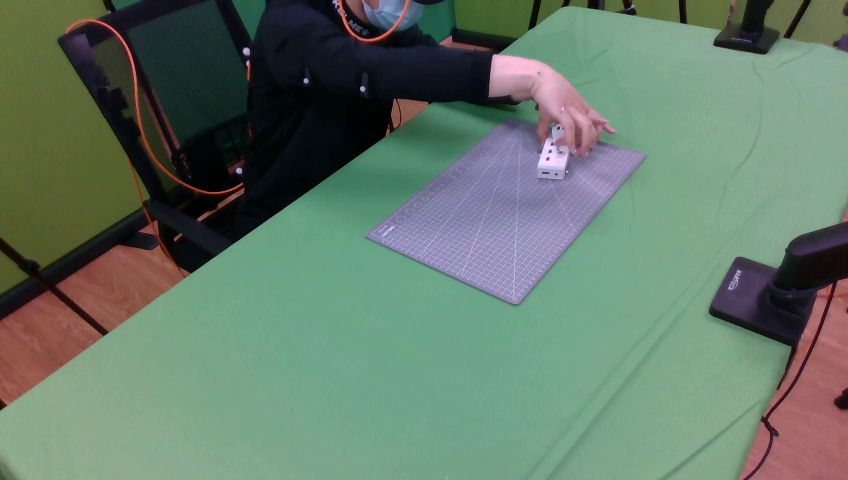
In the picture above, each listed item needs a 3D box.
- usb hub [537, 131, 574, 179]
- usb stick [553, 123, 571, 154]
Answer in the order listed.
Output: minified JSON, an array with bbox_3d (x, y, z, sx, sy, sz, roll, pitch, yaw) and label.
[{"bbox_3d":[0.243,-0.158,1.111,0.049,0.025,0.125,8,43,17],"label":"usb hub"},{"bbox_3d":[0.246,-0.177,1.077,0.027,0.059,0.021,1,43,19],"label":"usb stick"}]
